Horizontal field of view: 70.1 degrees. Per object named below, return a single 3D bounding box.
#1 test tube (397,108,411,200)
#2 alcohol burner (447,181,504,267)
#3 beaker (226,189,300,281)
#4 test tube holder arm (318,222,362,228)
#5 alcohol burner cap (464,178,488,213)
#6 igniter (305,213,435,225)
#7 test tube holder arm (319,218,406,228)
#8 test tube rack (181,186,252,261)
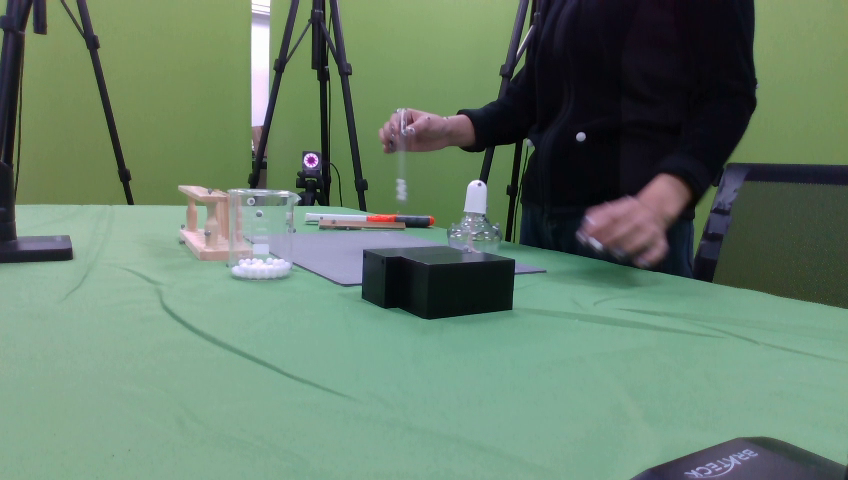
[{"bbox_3d":[-0.032,-0.139,0.976,0.017,0.150,0.017,-3,-2,0],"label":"test tube"},{"bbox_3d":[0.070,-0.024,0.828,0.078,0.119,0.078,0,6,0],"label":"alcohol burner"},{"bbox_3d":[-0.184,-0.007,0.694,0.084,0.100,0.073,-1,8,-29],"label":"beaker"},{"bbox_3d":[-0.166,-0.031,1.203,0.088,0.015,0.010,0,-24,-19],"label":"test tube holder arm"},{"bbox_3d":[0.073,-0.060,0.824,0.034,0.048,0.034,6,4,0],"label":"alcohol burner cap"},{"bbox_3d":[-0.114,-0.046,1.299,0.277,0.025,0.057,1,-3,-12],"label":"igniter"},{"bbox_3d":[-0.121,-0.033,1.213,0.179,0.015,0.013,0,-24,-20],"label":"test tube holder arm"},{"bbox_3d":[-0.312,-0.031,0.893,0.067,0.085,0.241,-1,8,-27],"label":"test tube rack"}]
